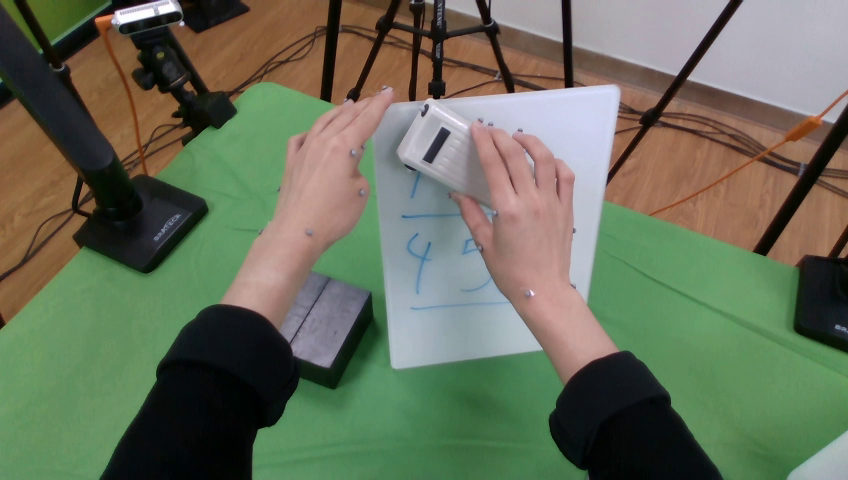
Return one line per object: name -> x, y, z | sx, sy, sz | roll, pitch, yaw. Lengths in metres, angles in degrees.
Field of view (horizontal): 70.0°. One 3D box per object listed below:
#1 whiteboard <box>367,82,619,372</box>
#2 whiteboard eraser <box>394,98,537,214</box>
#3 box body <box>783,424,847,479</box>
whiteboard -> 0.055, -0.032, 0.640 | 0.217, 0.308, 0.142 | -6, 35, -6
whiteboard eraser -> 0.035, -0.069, 0.506 | 0.113, 0.056, 0.041 | 24, 24, -24
box body -> 0.514, 0.286, 0.473 | 0.254, 0.162, 0.360 | -17, 56, -15
